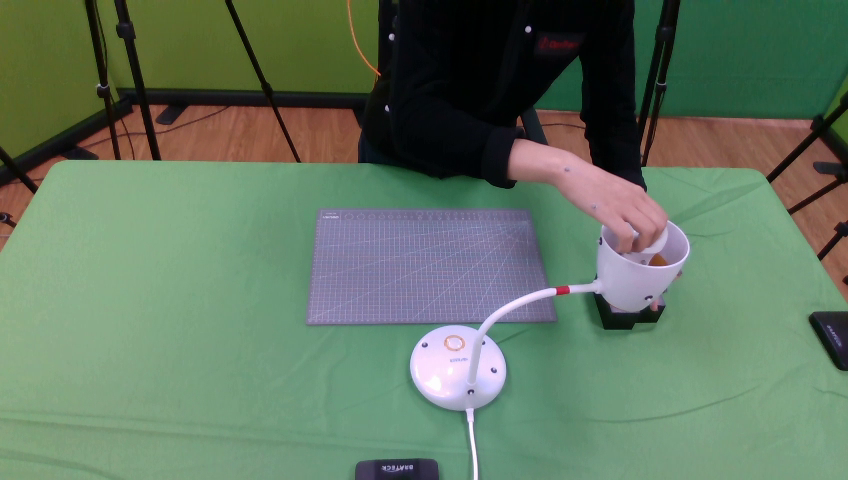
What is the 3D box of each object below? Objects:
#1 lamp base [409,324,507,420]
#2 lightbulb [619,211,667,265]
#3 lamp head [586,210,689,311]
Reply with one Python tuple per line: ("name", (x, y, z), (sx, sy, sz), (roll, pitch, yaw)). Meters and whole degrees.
("lamp base", (0.064, 0.163, 0.937), (0.161, 0.181, 0.178), (-10, 51, -13))
("lightbulb", (0.286, 0.012, 0.806), (0.059, 0.108, 0.059), (1, 34, 0))
("lamp head", (0.280, 0.039, 0.820), (0.112, 0.123, 0.111), (5, 41, -4))
